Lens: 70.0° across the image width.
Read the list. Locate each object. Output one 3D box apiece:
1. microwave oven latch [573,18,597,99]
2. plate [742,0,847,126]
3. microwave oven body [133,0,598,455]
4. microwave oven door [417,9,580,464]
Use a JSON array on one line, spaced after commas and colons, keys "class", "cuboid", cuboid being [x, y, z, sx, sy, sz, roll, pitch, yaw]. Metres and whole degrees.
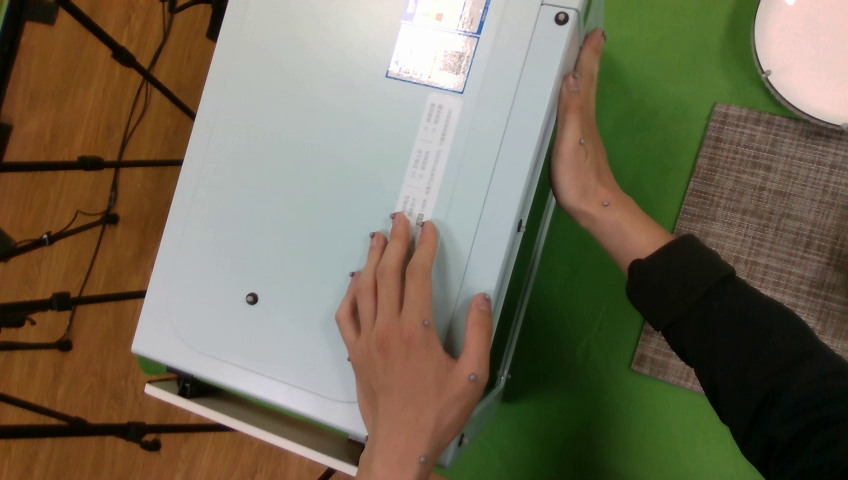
[{"class": "microwave oven latch", "cuboid": [0.168, -0.196, 0.661, 0.030, 0.029, 0.079, 16, 91, 15]}, {"class": "plate", "cuboid": [0.432, -0.214, 0.609, 0.207, 0.039, 0.207, -1, 86, 15]}, {"class": "microwave oven body", "cuboid": [-0.043, -0.071, 0.609, 0.324, 0.261, 0.441, 15, 91, 15]}, {"class": "microwave oven door", "cuboid": [0.080, 0.005, 0.565, 0.039, 0.245, 0.355, 15, 90, 17]}]
